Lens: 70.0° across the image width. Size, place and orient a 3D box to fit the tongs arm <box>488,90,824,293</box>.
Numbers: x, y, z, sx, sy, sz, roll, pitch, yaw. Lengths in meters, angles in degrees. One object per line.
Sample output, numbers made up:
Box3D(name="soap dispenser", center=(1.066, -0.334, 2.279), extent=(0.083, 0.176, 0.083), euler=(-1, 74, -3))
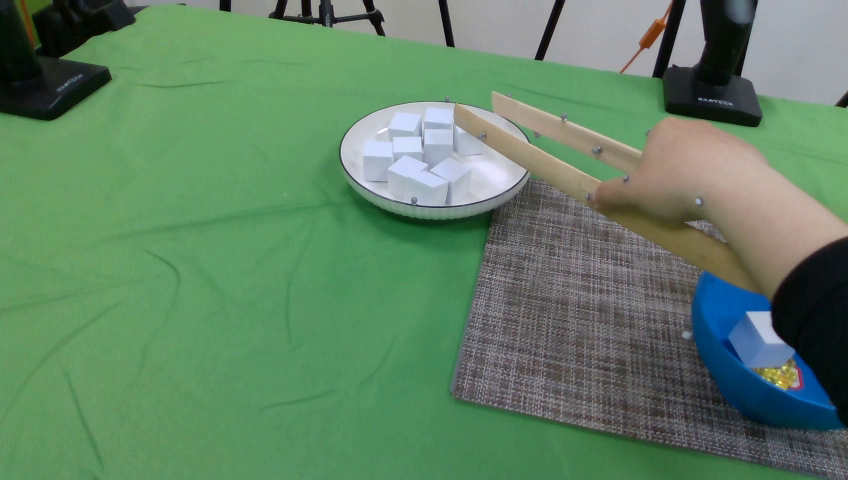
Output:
Box3D(name="tongs arm", center=(0.151, -0.065, 0.512), extent=(0.051, 0.027, 0.380), euler=(-20, 35, -25))

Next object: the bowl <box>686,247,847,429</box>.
Box3D(name="bowl", center=(0.264, 0.084, 0.453), extent=(0.151, 0.077, 0.150), euler=(2, 42, -2))

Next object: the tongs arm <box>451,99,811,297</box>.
Box3D(name="tongs arm", center=(0.124, -0.056, 0.501), extent=(0.028, 0.028, 0.383), euler=(-15, 33, -25))

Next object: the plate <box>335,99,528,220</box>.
Box3D(name="plate", center=(0.009, -0.086, 0.655), extent=(0.209, 0.038, 0.207), euler=(2, 42, -1))
